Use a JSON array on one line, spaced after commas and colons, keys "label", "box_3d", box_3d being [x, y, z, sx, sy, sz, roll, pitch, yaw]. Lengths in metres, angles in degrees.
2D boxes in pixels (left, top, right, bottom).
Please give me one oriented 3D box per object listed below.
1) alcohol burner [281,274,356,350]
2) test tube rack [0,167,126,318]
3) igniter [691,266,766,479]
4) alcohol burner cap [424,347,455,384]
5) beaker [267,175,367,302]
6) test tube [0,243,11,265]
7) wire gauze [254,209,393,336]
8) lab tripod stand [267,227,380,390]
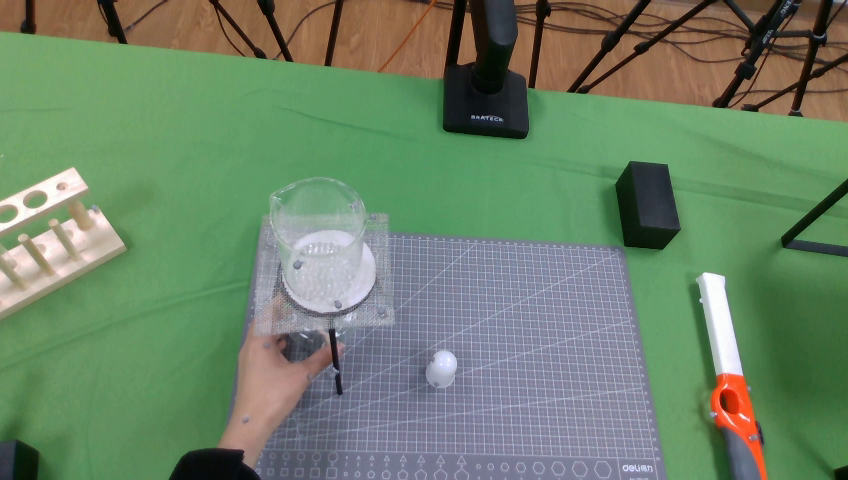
[{"label": "alcohol burner", "box_3d": [-0.107, 0.066, 0.619, 0.078, 0.120, 0.077, 4, 58, -7]}, {"label": "test tube rack", "box_3d": [-0.447, 0.028, 0.615, 0.242, 0.086, 0.066, -35, 69, -24]}, {"label": "igniter", "box_3d": [0.338, 0.155, 0.678, 0.057, 0.025, 0.274, 11, 59, -13]}, {"label": "alcohol burner cap", "box_3d": [0.018, 0.131, 0.640, 0.034, 0.048, 0.033, 2, 62, -4]}, {"label": "beaker", "box_3d": [-0.092, 0.002, 0.513, 0.084, 0.101, 0.073, 26, 60, 7]}, {"label": "test tube", "box_3d": [-0.439, -0.019, 0.587, 0.017, 0.151, 0.017, 4, 55, -5]}, {"label": "wire gauze", "box_3d": [-0.093, 0.025, 0.557, 0.122, 0.011, 0.124, -2, 64, -7]}, {"label": "lab tripod stand", "box_3d": [-0.096, 0.062, 0.611, 0.149, 0.132, 0.147, 4, 60, -7]}]
